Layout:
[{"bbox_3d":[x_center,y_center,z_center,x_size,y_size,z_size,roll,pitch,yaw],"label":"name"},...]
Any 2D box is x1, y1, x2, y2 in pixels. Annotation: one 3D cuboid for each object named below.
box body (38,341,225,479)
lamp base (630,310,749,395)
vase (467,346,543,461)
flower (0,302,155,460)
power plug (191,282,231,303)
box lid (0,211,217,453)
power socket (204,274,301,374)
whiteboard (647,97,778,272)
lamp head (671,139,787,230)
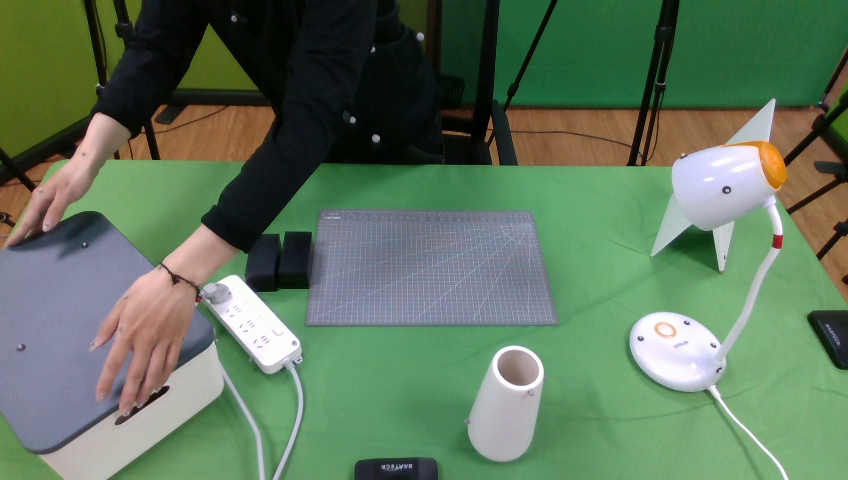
[{"bbox_3d":[-0.506,0.155,0.915,0.362,0.161,0.254,35,54,26],"label":"box body"},{"bbox_3d":[0.447,0.143,0.984,0.161,0.181,0.178,-24,55,-24],"label":"lamp base"},{"bbox_3d":[0.116,0.234,0.860,0.098,0.201,0.097,1,47,-1],"label":"vase"},{"bbox_3d":[-0.553,0.222,0.944,0.361,0.038,0.044,39,62,6],"label":"flower"},{"bbox_3d":[-0.368,0.097,1.038,0.072,0.053,0.035,-27,54,-21],"label":"power plug"},{"bbox_3d":[-0.504,0.103,0.863,0.369,0.015,0.263,35,52,26],"label":"box lid"},{"bbox_3d":[-0.296,0.140,1.035,0.072,0.033,0.225,-33,57,-30],"label":"power socket"},{"bbox_3d":[0.602,-0.079,1.162,0.144,0.306,0.216,35,51,2],"label":"whiteboard"},{"bbox_3d":[0.415,-0.078,0.811,0.113,0.123,0.112,12,70,-37],"label":"lamp head"}]
